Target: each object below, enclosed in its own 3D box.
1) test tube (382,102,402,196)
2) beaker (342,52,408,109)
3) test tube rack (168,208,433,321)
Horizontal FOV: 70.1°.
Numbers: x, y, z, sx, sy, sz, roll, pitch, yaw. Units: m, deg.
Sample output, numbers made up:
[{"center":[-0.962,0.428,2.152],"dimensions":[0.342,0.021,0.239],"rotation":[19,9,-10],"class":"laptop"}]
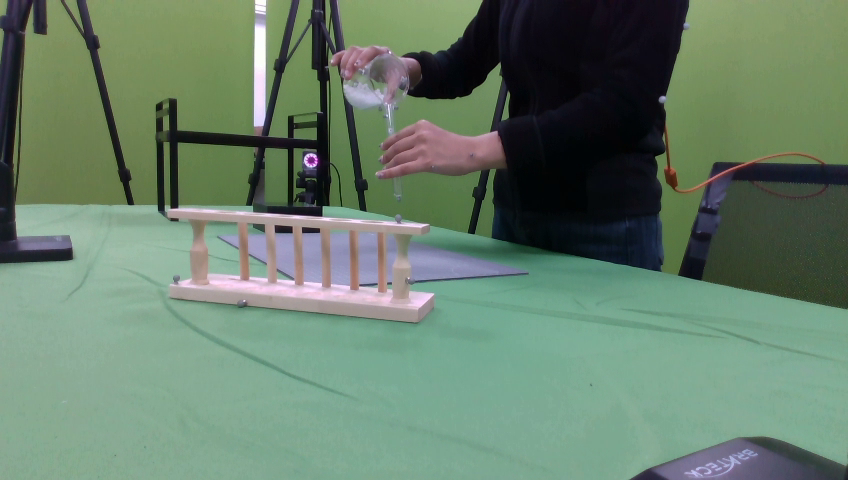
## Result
[{"center":[-0.049,-0.140,0.926],"dimensions":[0.017,0.150,0.017],"rotation":[-7,-12,-1],"class":"test tube"},{"center":[-0.082,-0.251,0.978],"dimensions":[0.074,0.084,0.100],"rotation":[-4,4,-33],"class":"beaker"},{"center":[-0.116,0.017,0.574],"dimensions":[0.242,0.085,0.067],"rotation":[4,8,13],"class":"test tube rack"}]
